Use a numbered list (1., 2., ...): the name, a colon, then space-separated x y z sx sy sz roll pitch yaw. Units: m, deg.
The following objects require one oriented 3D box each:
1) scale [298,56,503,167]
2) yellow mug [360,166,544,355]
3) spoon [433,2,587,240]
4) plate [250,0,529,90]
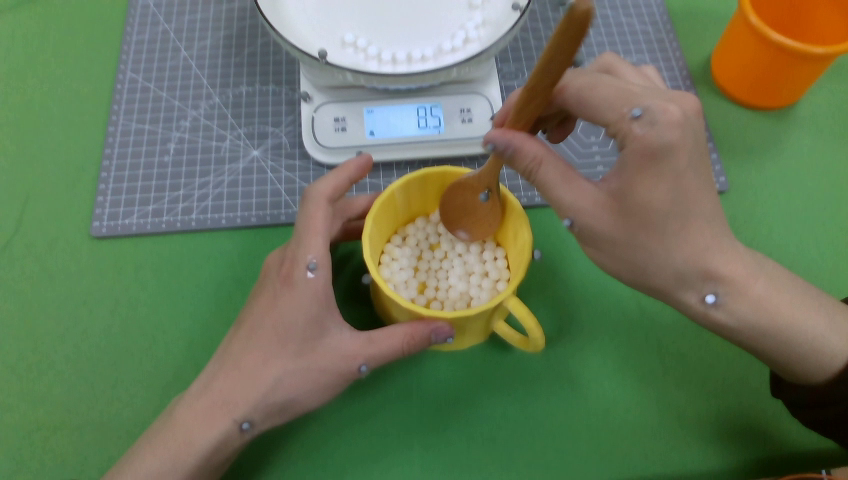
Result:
1. scale: -0.023 -0.151 0.470 0.149 0.032 0.199 -5 65 -3
2. yellow mug: 0.024 0.023 0.375 0.130 0.064 0.100 42 73 16
3. spoon: 0.039 -0.046 0.313 0.041 0.194 0.021 34 66 3
4. plate: -0.025 -0.191 0.453 0.209 0.038 0.207 1 65 -2
